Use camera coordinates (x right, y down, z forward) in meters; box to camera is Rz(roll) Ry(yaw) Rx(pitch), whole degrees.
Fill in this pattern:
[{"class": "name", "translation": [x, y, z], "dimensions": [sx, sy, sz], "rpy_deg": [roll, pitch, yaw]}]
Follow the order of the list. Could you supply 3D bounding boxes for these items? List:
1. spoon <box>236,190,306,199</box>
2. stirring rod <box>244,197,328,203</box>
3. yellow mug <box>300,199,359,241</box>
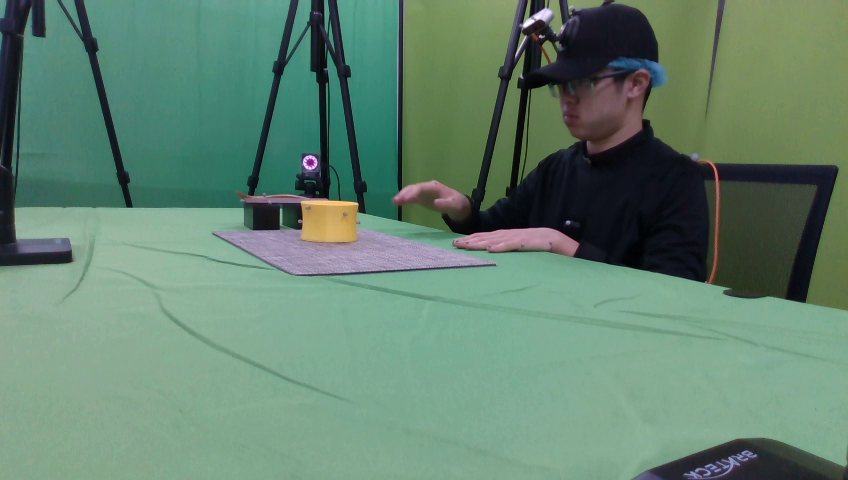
[{"class": "spoon", "translation": [-0.290, -0.088, 1.248], "dimensions": [0.195, 0.021, 0.041], "rpy_deg": [0, 5, -32]}, {"class": "stirring rod", "translation": [-0.271, -0.079, 1.201], "dimensions": [0.177, 0.006, 0.014], "rpy_deg": [-2, 46, -36]}, {"class": "yellow mug", "translation": [-0.157, -0.036, 1.060], "dimensions": [0.099, 0.064, 0.131], "rpy_deg": [6, 7, 27]}]
